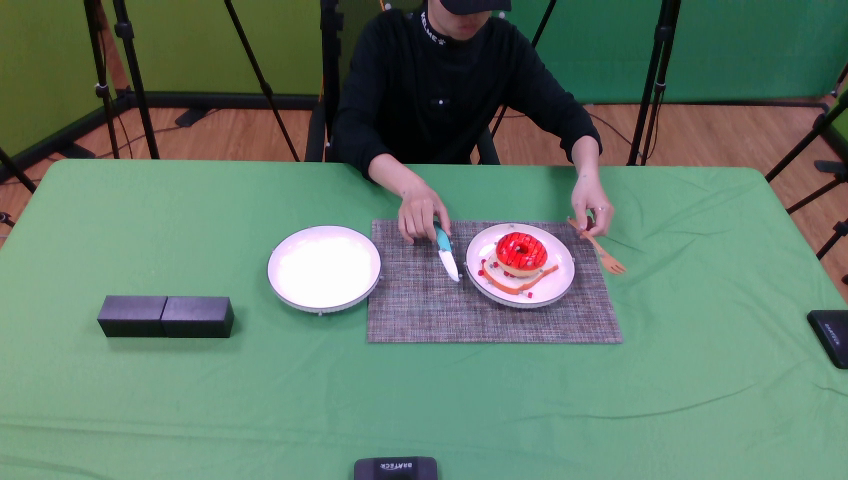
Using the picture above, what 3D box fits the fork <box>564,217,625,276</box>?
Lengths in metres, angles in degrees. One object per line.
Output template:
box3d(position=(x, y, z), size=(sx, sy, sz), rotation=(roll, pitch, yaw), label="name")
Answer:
box3d(position=(0.314, 0.009, 1.139), size=(0.028, 0.018, 0.206), rotation=(20, 26, -29), label="fork")

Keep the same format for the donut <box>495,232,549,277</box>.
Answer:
box3d(position=(0.180, 0.026, 1.119), size=(0.099, 0.048, 0.098), rotation=(2, 46, -2), label="donut")

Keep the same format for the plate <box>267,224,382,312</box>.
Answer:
box3d(position=(-0.182, 0.055, 1.120), size=(0.208, 0.039, 0.206), rotation=(2, 46, -2), label="plate")

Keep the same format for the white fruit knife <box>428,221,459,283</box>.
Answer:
box3d(position=(0.038, 0.020, 1.119), size=(0.027, 0.016, 0.206), rotation=(-10, 33, -6), label="white fruit knife")

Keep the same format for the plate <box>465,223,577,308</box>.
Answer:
box3d(position=(0.180, 0.051, 1.144), size=(0.209, 0.038, 0.208), rotation=(2, 45, -2), label="plate")

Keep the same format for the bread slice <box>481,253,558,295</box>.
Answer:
box3d(position=(0.177, 0.050, 1.148), size=(0.131, 0.019, 0.104), rotation=(-32, 55, -31), label="bread slice")
